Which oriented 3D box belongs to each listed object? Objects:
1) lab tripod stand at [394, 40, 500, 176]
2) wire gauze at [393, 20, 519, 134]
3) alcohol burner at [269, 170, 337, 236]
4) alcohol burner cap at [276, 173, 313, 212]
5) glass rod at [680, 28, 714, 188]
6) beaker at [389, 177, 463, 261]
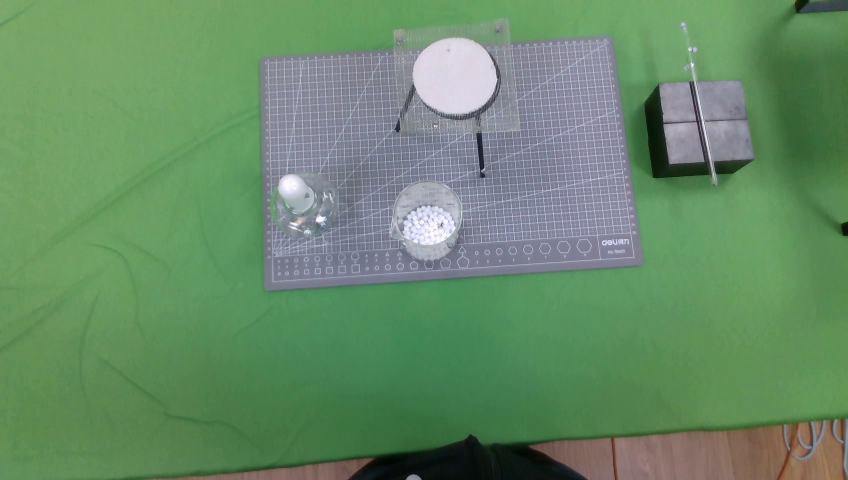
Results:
[{"bbox_3d":[0.035,-0.157,0.690,0.148,0.132,0.147,0,76,1],"label":"lab tripod stand"},{"bbox_3d":[0.032,-0.167,0.624,0.125,0.011,0.121,-3,79,-1],"label":"wire gauze"},{"bbox_3d":[-0.138,-0.046,0.676,0.078,0.119,0.077,0,79,-1],"label":"alcohol burner"},{"bbox_3d":[-0.139,-0.052,0.641,0.034,0.048,0.033,-1,73,4],"label":"alcohol burner cap"},{"bbox_3d":[0.321,-0.157,0.711,0.008,0.008,0.199,-5,80,-1],"label":"glass rod"},{"bbox_3d":[0.001,-0.017,0.679,0.084,0.100,0.073,-31,79,-6],"label":"beaker"}]
